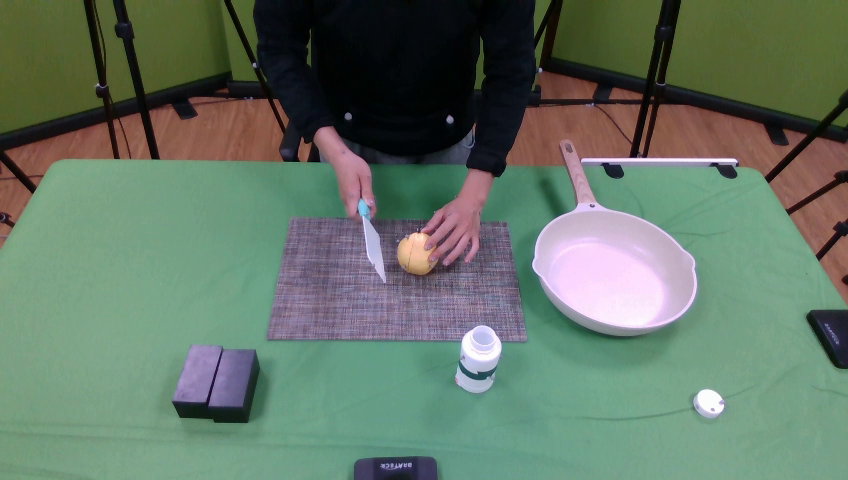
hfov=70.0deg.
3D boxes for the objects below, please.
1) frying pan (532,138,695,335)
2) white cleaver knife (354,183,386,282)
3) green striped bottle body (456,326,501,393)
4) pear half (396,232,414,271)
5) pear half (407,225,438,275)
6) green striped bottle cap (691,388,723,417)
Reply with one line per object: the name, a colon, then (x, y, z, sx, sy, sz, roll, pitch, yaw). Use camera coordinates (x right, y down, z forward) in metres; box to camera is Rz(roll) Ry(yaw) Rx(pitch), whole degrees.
frying pan: (0.336, -0.024, 1.190, 0.307, 0.103, 0.484, -2, 55, -7)
white cleaver knife: (-0.097, -0.019, 1.057, 0.021, 0.066, 0.284, -26, 32, 7)
green striped bottle body: (0.086, 0.185, 0.959, 0.063, 0.120, 0.063, 2, 46, -2)
pear half: (-0.036, 0.017, 1.126, 0.031, 0.088, 0.070, 5, 48, 0)
pear half: (-0.001, 0.014, 1.118, 0.056, 0.110, 0.076, 5, 49, 0)
green striped bottle cap: (0.460, 0.263, 0.984, 0.044, 0.020, 0.044, 3, 46, -3)
